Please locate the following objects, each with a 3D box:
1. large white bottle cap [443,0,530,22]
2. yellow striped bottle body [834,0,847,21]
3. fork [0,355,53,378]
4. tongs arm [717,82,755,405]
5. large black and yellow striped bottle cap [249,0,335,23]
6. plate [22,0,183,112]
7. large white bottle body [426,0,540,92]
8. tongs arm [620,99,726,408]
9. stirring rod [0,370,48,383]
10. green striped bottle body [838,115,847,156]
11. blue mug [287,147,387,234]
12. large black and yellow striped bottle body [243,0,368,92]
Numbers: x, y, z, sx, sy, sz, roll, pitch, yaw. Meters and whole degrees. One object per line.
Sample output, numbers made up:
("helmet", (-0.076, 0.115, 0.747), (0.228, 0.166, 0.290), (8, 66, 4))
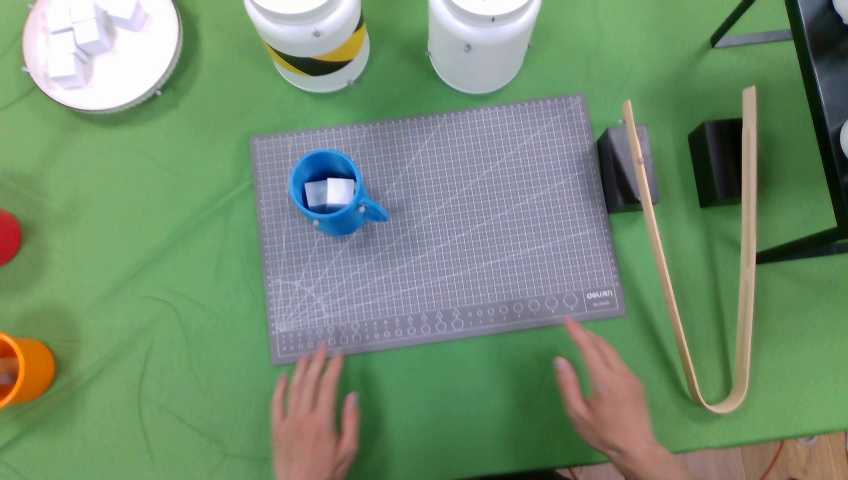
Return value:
("large white bottle cap", (0.067, -0.291, 0.652), (0.115, 0.018, 0.114), (0, 80, -1))
("yellow striped bottle body", (0.465, -0.265, 0.585), (0.063, 0.120, 0.062), (0, 80, 0))
("fork", (-0.538, 0.137, 0.684), (0.209, 0.018, 0.028), (18, 77, -41))
("tongs arm", (0.380, 0.006, 0.733), (0.028, 0.027, 0.387), (1, 92, -8))
("large black and yellow striped bottle cap", (-0.142, -0.291, 0.653), (0.115, 0.019, 0.114), (0, 81, -1))
("plate", (-0.421, -0.266, 0.807), (0.208, 0.039, 0.207), (0, 81, 0))
("large white bottle body", (0.068, -0.275, 0.735), (0.130, 0.185, 0.130), (0, 80, 0))
("tongs arm", (0.299, 0.017, 0.728), (0.051, 0.026, 0.385), (-12, 93, -5))
("stirring rod", (-0.527, 0.156, 0.683), (0.177, 0.006, 0.014), (8, 64, -40))
("green striped bottle body", (0.453, -0.115, 0.561), (0.063, 0.119, 0.063), (0, 80, 0))
("blue mug", (-0.098, -0.051, 0.736), (0.116, 0.106, 0.082), (22, 81, 3))
("large black and yellow striped bottle body", (-0.141, -0.274, 0.735), (0.131, 0.184, 0.130), (0, 80, 0))
